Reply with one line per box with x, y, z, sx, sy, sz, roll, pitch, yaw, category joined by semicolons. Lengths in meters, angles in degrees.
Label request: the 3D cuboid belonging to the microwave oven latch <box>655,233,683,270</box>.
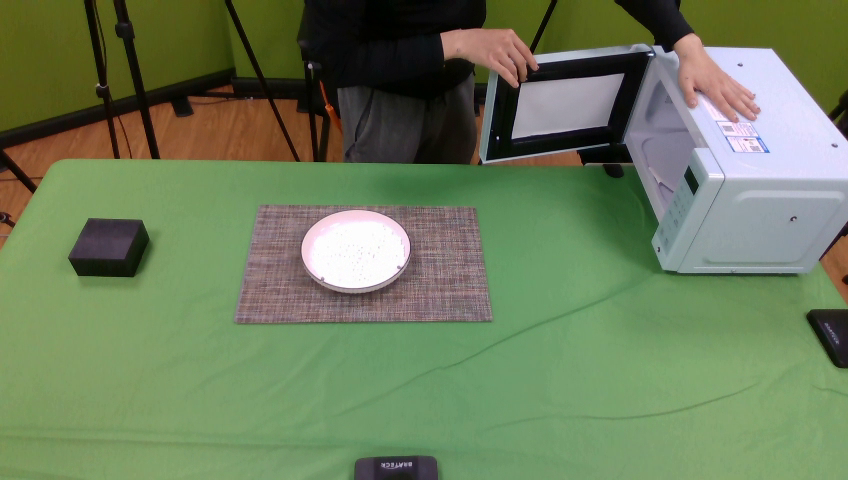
0.473;0.021;1.176;0.030;0.029;0.078;2;46;-1;microwave oven latch

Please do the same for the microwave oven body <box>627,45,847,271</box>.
0.619;-0.172;1.234;0.326;0.261;0.439;0;46;-2;microwave oven body

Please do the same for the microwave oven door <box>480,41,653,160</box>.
0.307;-0.304;1.329;0.356;0.245;0.039;-10;48;-12;microwave oven door

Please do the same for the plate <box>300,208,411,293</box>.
-0.129;0.022;1.149;0.209;0.038;0.208;2;47;-2;plate
